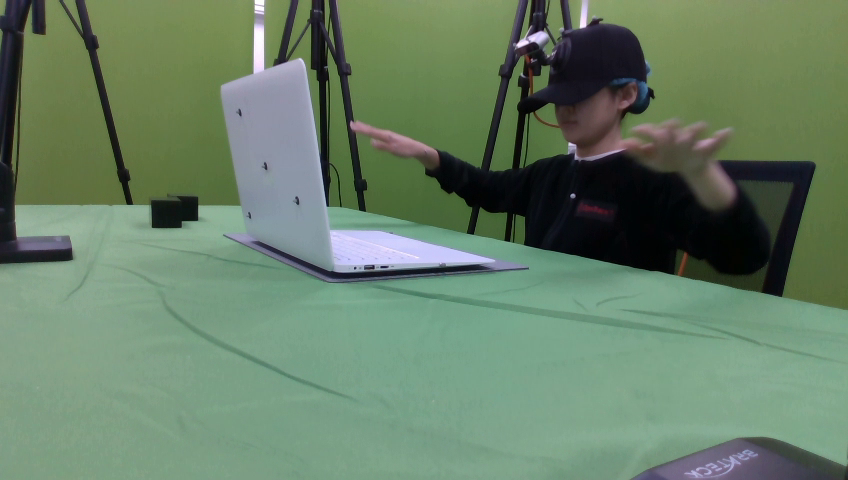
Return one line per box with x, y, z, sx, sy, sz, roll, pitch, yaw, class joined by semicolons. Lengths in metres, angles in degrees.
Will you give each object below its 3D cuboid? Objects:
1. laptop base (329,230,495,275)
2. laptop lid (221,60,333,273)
-0.093;0.015;0.883;0.237;0.023;0.352;3;6;-33;laptop base
-0.205;-0.098;0.795;0.013;0.241;0.355;-13;16;-30;laptop lid
